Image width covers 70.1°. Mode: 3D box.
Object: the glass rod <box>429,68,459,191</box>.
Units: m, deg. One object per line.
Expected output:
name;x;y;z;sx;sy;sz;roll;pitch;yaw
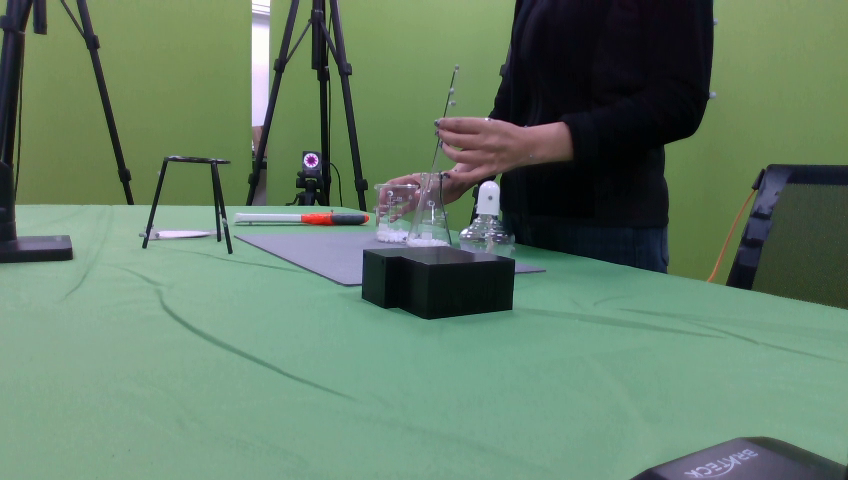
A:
glass rod;0.028;-0.159;0.899;0.008;0.199;0.008;9;34;-6

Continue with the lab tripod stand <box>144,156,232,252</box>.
lab tripod stand;-0.325;-0.054;0.881;0.148;0.131;0.148;4;7;0

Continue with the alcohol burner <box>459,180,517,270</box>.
alcohol burner;0.086;-0.021;0.805;0.078;0.119;0.078;3;9;0

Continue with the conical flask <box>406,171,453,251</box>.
conical flask;0.011;-0.046;0.948;0.075;0.122;0.075;2;8;0

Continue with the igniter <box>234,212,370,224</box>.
igniter;-0.247;-0.046;1.253;0.278;0.025;0.057;-1;-3;-27

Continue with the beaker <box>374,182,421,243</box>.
beaker;-0.049;-0.048;1.031;0.083;0.100;0.074;5;8;24

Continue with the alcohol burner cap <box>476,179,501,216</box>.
alcohol burner cap;0.086;-0.057;0.801;0.034;0.048;0.034;4;3;0

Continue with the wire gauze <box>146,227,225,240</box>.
wire gauze;-0.400;-0.012;1.019;0.122;0.011;0.124;-1;6;-26
